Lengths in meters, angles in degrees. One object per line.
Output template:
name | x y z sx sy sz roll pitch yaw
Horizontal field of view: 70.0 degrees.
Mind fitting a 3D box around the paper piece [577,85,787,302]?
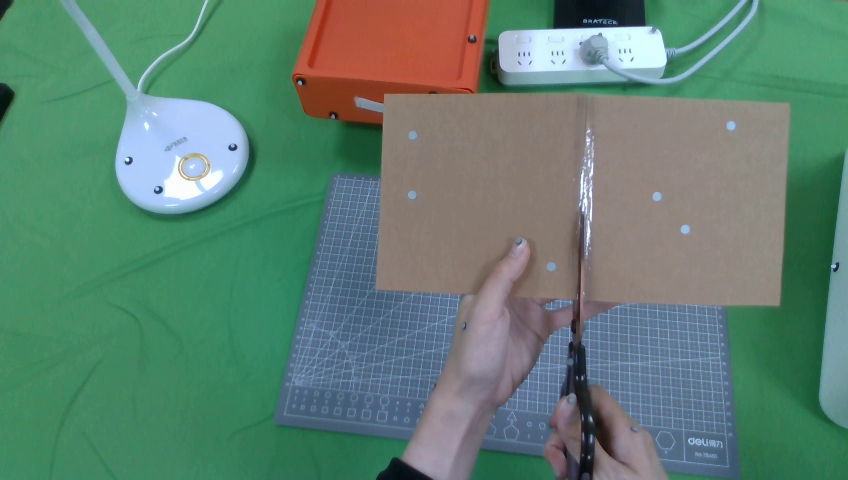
paper piece | 0.167 -0.029 0.392 0.135 0.004 0.136 3 93 -1

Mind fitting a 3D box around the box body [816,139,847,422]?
box body | 0.540 0.024 0.562 0.253 0.161 0.362 18 66 11

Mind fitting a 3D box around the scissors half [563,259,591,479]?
scissors half | 0.098 0.063 0.382 0.013 0.040 0.174 3 74 3

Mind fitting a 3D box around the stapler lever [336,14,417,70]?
stapler lever | -0.057 -0.233 0.702 0.117 0.040 0.027 34 86 21

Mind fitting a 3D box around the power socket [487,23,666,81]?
power socket | 0.196 -0.242 0.779 0.227 0.033 0.071 0 65 2

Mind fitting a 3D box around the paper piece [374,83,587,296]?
paper piece | 0.035 -0.034 0.401 0.135 0.008 0.138 3 93 12

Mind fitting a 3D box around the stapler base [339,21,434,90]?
stapler base | -0.049 -0.226 0.726 0.129 0.024 0.041 35 86 20

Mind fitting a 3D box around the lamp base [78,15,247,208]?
lamp base | -0.310 -0.151 0.676 0.178 0.182 0.160 36 70 21

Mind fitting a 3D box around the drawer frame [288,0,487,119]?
drawer frame | -0.033 -0.247 0.716 0.201 0.083 0.212 6 64 6

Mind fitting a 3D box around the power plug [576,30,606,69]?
power plug | 0.204 -0.226 0.746 0.035 0.053 0.072 10 65 7

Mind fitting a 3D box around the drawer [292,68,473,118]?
drawer | -0.031 -0.245 0.715 0.194 0.074 0.210 6 64 6

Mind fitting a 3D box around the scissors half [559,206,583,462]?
scissors half | 0.100 0.064 0.404 0.013 0.040 0.175 3 101 8
